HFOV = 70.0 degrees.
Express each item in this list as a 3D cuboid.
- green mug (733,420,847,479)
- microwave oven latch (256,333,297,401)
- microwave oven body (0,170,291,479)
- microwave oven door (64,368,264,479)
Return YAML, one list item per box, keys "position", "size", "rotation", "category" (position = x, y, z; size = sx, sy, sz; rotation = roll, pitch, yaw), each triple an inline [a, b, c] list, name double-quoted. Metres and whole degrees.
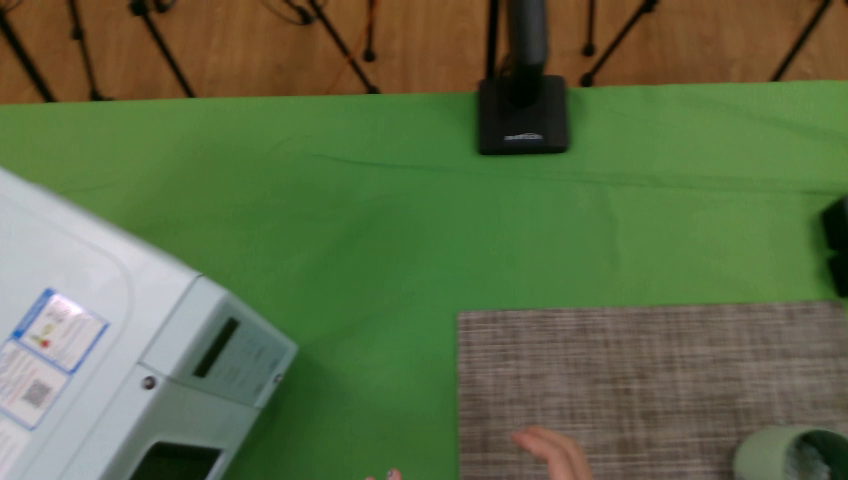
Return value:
- position: [0.375, 0.239, 0.594]
  size: [0.092, 0.105, 0.124]
  rotation: [-19, 70, -4]
  category: "green mug"
- position: [-0.174, 0.139, 0.681]
  size: [0.030, 0.030, 0.079]
  rotation: [27, 74, 12]
  category: "microwave oven latch"
- position: [-0.392, 0.193, 0.569]
  size: [0.325, 0.262, 0.440]
  rotation: [25, 74, 11]
  category: "microwave oven body"
- position: [-0.282, 0.287, 0.524]
  size: [0.039, 0.245, 0.354]
  rotation: [25, 73, 13]
  category: "microwave oven door"
